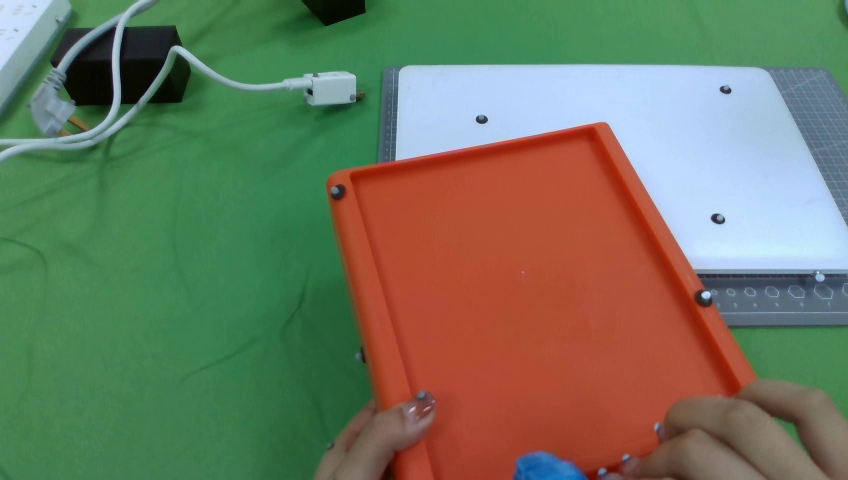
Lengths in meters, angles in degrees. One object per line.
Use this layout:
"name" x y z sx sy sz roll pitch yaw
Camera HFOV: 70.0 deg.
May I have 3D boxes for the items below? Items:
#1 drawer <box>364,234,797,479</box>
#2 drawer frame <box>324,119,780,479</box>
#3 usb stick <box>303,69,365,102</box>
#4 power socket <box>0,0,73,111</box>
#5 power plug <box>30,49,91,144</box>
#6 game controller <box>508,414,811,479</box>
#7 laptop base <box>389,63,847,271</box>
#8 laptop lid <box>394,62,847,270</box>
"drawer" 0.082 0.112 0.334 0.195 0.074 0.209 -11 58 -11
"drawer frame" 0.059 0.043 0.372 0.202 0.083 0.211 -13 59 -11
"usb stick" -0.082 -0.144 0.564 0.059 0.027 0.021 -13 29 -37
"power socket" -0.422 -0.189 0.595 0.072 0.033 0.224 4 52 0
"power plug" -0.307 -0.122 0.527 0.072 0.053 0.035 -53 35 -1
"game controller" 0.100 0.132 0.259 0.155 0.051 0.097 -5 89 -13
"laptop base" 0.151 -0.068 0.520 0.354 0.023 0.233 0 56 -1
"laptop lid" 0.150 -0.073 0.509 0.357 0.013 0.239 1 55 1
